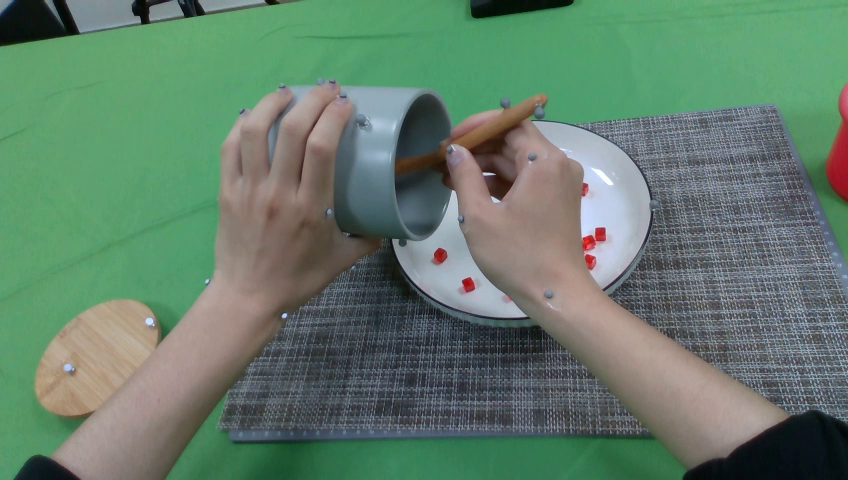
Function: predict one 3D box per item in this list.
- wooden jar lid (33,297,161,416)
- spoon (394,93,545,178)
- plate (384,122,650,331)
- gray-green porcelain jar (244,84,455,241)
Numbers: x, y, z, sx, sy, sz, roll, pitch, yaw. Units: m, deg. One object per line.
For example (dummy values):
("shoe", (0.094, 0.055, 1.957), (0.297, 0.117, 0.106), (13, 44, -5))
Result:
("wooden jar lid", (-0.270, 0.098, 0.508), (0.108, 0.021, 0.107), (-6, 51, 8))
("spoon", (0.003, -0.057, 0.407), (0.193, 0.022, 0.041), (-16, 40, 41))
("plate", (0.072, -0.013, 0.492), (0.207, 0.039, 0.205), (-7, 51, 9))
("gray-green porcelain jar", (-0.055, -0.058, 0.439), (0.126, 0.107, 0.105), (8, 55, 23))
